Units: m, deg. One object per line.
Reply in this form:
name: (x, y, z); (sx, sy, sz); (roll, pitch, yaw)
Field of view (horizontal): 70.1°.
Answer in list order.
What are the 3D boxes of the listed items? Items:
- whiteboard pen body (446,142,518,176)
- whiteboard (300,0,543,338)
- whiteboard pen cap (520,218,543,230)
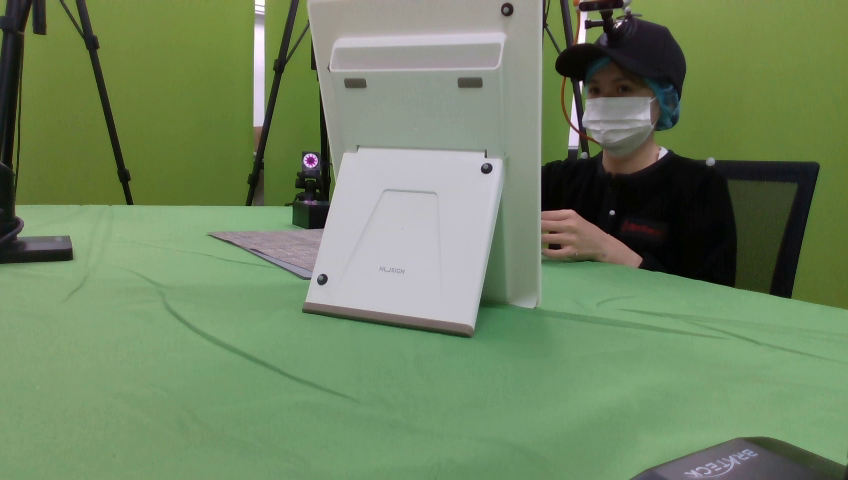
whiteboard pen body: (0.088, -0.120, 0.910); (0.141, 0.017, 0.017); (-25, 21, -29)
whiteboard: (-0.020, -0.050, 0.523); (0.216, 0.305, 0.144); (6, 27, 22)
whiteboard pen cap: (0.168, -0.025, 0.948); (0.033, 0.018, 0.018); (-3, 3, 37)
